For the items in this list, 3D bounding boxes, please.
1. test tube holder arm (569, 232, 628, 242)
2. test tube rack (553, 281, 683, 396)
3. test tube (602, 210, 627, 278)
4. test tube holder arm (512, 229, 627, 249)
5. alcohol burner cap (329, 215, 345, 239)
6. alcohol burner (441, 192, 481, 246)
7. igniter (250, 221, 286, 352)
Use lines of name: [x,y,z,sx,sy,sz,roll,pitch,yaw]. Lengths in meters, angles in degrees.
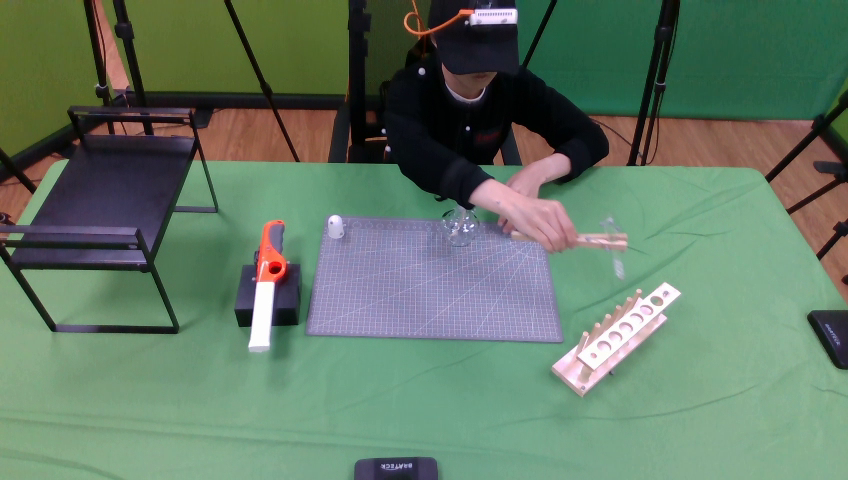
test tube holder arm: [0.269,-0.005,0.936,0.087,0.015,0.010,-1,48,17]
test tube rack: [0.329,0.153,1.023,0.242,0.085,0.066,-30,54,-28]
test tube: [0.295,0.009,0.935,0.017,0.151,0.017,-15,44,15]
test tube holder arm: [0.225,-0.003,0.948,0.178,0.015,0.013,5,50,22]
alcohol burner cap: [-0.172,-0.028,1.192,0.034,0.048,0.033,1,47,-1]
alcohol burner: [0.074,-0.046,1.175,0.078,0.119,0.077,2,44,-2]
igniter: [-0.269,0.068,1.042,0.057,0.025,0.274,0,48,-7]
